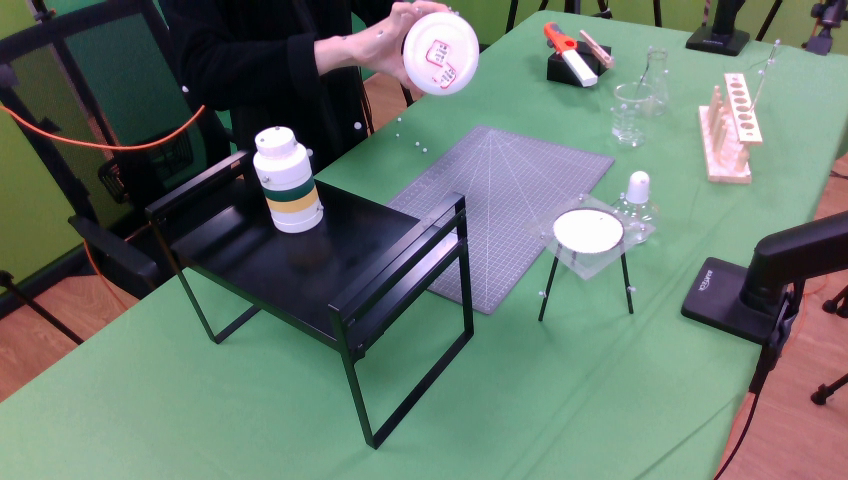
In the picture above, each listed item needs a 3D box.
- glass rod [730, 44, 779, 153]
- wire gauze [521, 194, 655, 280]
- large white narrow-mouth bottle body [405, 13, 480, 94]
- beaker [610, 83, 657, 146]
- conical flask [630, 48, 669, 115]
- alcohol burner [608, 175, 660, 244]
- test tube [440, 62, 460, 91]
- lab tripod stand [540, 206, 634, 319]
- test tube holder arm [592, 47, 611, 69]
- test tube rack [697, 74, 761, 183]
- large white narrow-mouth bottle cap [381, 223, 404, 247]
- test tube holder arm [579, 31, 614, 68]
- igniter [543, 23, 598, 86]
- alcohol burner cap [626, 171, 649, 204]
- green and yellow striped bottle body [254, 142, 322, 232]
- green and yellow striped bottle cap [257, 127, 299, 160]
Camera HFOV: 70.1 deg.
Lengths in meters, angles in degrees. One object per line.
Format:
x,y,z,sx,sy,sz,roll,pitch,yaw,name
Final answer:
0.555,-0.234,1.020,0.008,0.200,0.008,2,40,-1,glass rod
0.207,-0.012,0.772,0.122,0.011,0.124,-28,44,-20,wire gauze
0.025,-0.263,0.867,0.102,0.102,0.194,-5,15,2,large white narrow-mouth bottle body
0.388,-0.235,1.138,0.074,0.101,0.083,-31,45,-25,beaker
0.456,-0.317,1.205,0.075,0.122,0.075,-4,41,4,conical flask
0.322,-0.053,0.924,0.078,0.119,0.077,-4,43,4,alcohol burner
0.046,-0.277,1.034,0.017,0.017,0.150,1,2,10,test tube
0.218,0.034,0.821,0.148,0.132,0.147,-4,42,4,lab tripod stand
0.386,-0.398,1.317,0.010,0.015,0.087,-10,41,-2,test tube holder arm
0.547,-0.208,1.095,0.066,0.085,0.242,5,42,15,test tube rack
-0.052,-0.009,0.992,0.038,0.024,0.037,-5,39,4,large white narrow-mouth bottle cap
0.384,-0.428,1.351,0.013,0.015,0.177,-11,41,-4,test tube holder arm
0.320,-0.419,1.345,0.057,0.025,0.274,-12,44,-3,igniter
0.320,-0.081,0.900,0.034,0.048,0.033,-4,42,4,alcohol burner cap
-0.165,-0.073,0.732,0.063,0.120,0.063,-4,41,4,green and yellow striped bottle body
-0.169,-0.112,0.698,0.045,0.020,0.045,-5,40,5,green and yellow striped bottle cap
